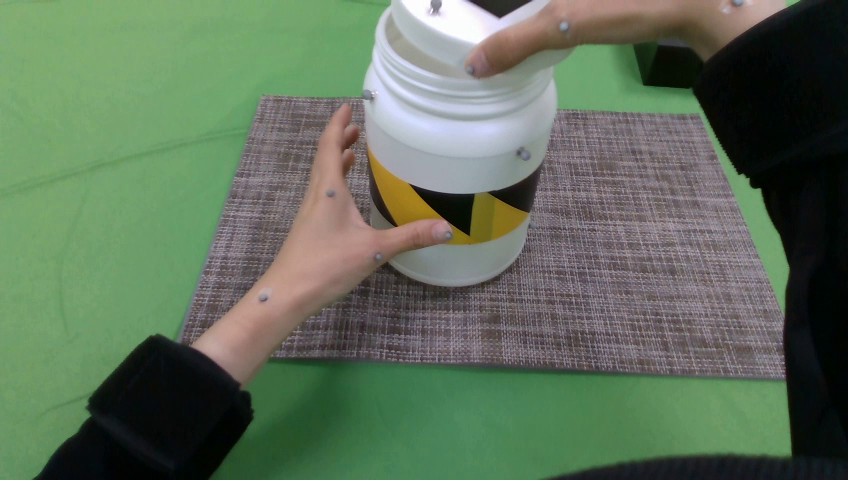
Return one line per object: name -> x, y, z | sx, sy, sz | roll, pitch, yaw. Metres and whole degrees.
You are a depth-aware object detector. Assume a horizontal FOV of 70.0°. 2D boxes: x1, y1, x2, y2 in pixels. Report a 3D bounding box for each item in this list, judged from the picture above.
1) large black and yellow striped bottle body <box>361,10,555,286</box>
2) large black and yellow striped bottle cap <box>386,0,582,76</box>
large black and yellow striped bottle body -> 0.021, -0.069, 0.440 | 0.131, 0.185, 0.129 | 2, 49, -2
large black and yellow striped bottle cap -> 0.035, -0.138, 0.357 | 0.115, 0.019, 0.114 | 4, 51, -5
